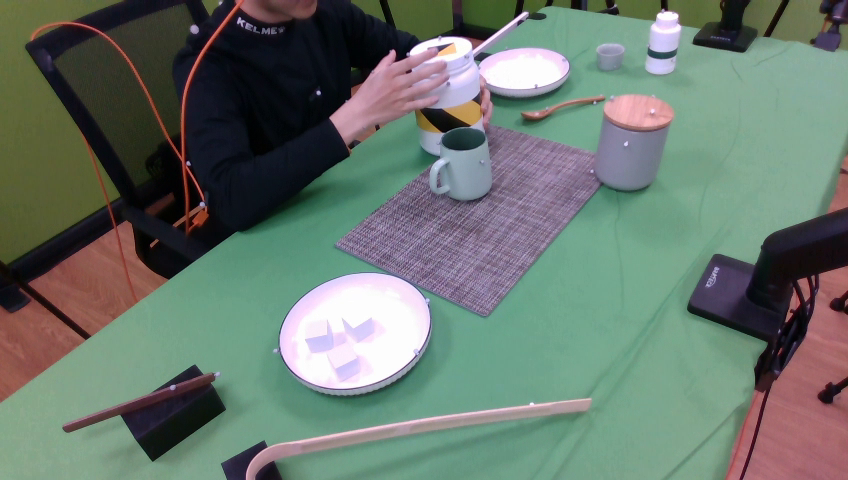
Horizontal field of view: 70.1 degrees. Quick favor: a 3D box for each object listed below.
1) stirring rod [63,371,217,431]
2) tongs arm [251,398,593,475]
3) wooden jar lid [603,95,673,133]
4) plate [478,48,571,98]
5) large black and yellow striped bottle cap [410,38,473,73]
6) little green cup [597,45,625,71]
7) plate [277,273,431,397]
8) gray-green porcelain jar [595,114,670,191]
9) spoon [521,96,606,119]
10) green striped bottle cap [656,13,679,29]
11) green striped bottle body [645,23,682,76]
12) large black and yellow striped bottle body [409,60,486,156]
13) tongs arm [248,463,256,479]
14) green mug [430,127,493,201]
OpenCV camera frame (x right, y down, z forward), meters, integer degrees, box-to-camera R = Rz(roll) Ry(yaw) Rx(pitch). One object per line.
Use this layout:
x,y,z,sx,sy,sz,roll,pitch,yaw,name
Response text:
-0.337,0.192,0.723,0.177,0.014,0.005,-18,43,-12,stirring rod
0.008,0.212,0.675,0.389,0.028,0.028,-5,46,-11,tongs arm
0.343,-0.200,0.974,0.108,0.021,0.108,-1,39,2,wooden jar lid
0.223,-0.371,1.357,0.209,0.038,0.208,-4,41,4,plate
0.031,-0.335,1.092,0.115,0.019,0.114,-6,40,5,large black and yellow striped bottle cap
0.423,-0.413,1.375,0.061,0.039,0.061,-3,41,3,little green cup
-0.091,0.129,0.821,0.207,0.039,0.206,-4,40,4,plate
0.346,-0.154,1.017,0.106,0.127,0.105,-2,44,2,gray-green porcelain jar
0.291,-0.277,1.249,0.194,0.022,0.041,-17,25,-11,spoon
0.515,-0.463,1.278,0.044,0.020,0.044,-6,42,6,green striped bottle cap
0.520,-0.424,1.312,0.063,0.120,0.063,-4,41,4,green striped bottle body
0.045,-0.267,1.146,0.130,0.185,0.130,-7,38,6,large black and yellow striped bottle body
0.012,0.262,0.615,0.385,0.026,0.050,2,41,-2,tongs arm
0.059,-0.122,1.034,0.126,0.105,0.091,-35,48,-28,green mug
